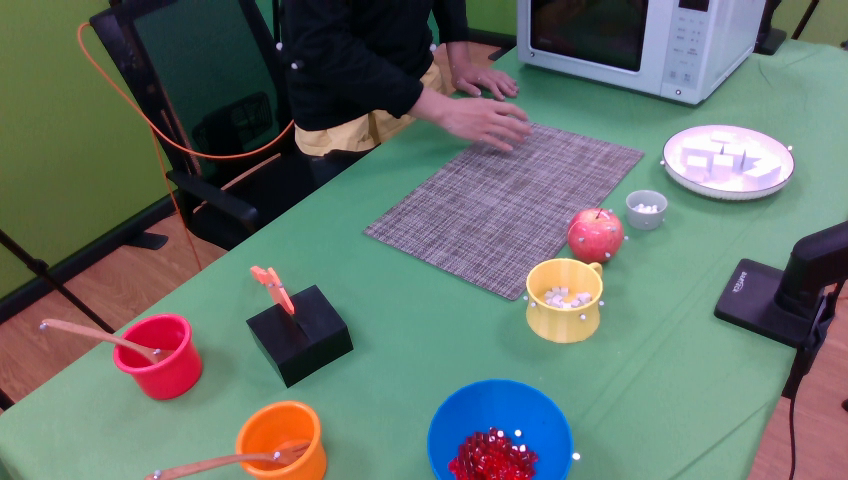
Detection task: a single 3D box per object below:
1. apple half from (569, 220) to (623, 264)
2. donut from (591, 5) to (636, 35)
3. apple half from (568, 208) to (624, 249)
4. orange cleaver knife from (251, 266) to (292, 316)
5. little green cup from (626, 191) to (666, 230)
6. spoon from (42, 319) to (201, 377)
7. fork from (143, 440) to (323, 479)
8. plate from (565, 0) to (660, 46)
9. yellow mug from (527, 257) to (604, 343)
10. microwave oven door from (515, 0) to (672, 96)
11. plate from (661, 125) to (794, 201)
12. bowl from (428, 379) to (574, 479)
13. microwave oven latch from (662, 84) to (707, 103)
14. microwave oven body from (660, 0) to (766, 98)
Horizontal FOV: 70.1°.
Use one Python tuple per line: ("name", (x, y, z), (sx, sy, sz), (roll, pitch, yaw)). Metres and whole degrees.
("apple half", (0.251, 0.010, 0.884), (0.081, 0.081, 0.032), (3, 37, 12))
("donut", (0.427, -0.498, 1.364), (0.099, 0.048, 0.098), (-5, 38, 4))
("apple half", (0.259, -0.014, 0.914), (0.080, 0.075, 0.053), (0, 36, 15))
("orange cleaver knife", (-0.221, 0.071, 0.873), (0.012, 0.077, 0.210), (-25, 11, -21))
("little green cup", (0.352, -0.046, 0.963), (0.061, 0.039, 0.061), (-4, 40, 4))
("spoon", (-0.385, 0.135, 0.779), (0.195, 0.021, 0.041), (29, 36, -26))
("fork", (-0.189, 0.231, 0.631), (0.028, 0.018, 0.209), (38, 14, 37))
("plate", (0.427, -0.490, 1.376), (0.209, 0.038, 0.208), (-5, 40, 4))
("yellow mug", (0.201, 0.072, 0.825), (0.131, 0.064, 0.099), (-32, 46, -27))
("microwave oven door", (0.343, -0.454, 1.259), (0.353, 0.245, 0.039), (26, 51, 33))
("plate", (0.513, -0.128, 1.035), (0.207, 0.039, 0.206), (-4, 40, 4))
("bowl", (0.082, 0.233, 0.644), (0.151, 0.077, 0.150), (-4, 39, 4))
("microwave oven latch", (0.517, -0.296, 1.204), (0.078, 0.029, 0.030), (27, 52, 35))
("microwave oven body", (0.472, -0.513, 1.317), (0.438, 0.261, 0.327), (26, 51, 34))
